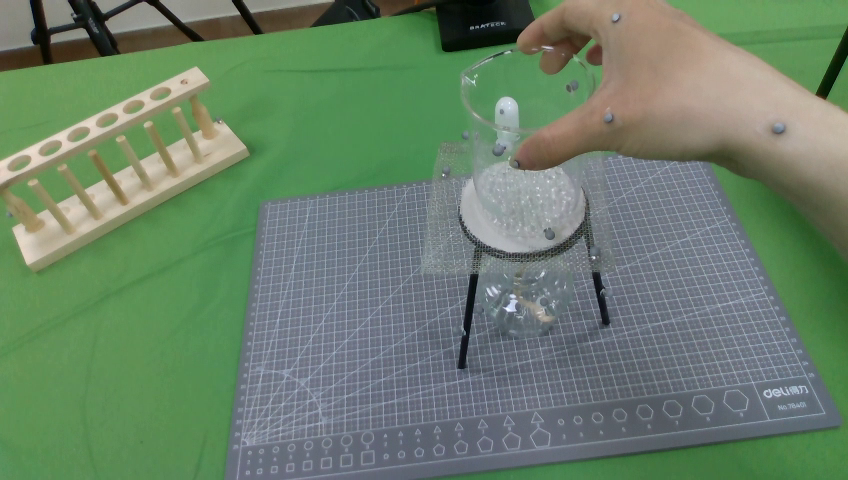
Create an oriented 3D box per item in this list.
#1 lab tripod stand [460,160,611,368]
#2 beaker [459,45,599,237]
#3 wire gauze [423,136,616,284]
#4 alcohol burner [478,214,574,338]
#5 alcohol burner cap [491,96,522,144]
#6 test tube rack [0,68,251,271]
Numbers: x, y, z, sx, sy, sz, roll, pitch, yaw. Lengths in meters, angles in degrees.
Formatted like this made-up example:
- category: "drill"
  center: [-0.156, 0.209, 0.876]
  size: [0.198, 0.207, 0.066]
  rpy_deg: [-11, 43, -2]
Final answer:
- category: "lab tripod stand"
  center: [0.075, 0.019, 0.462]
  size: [0.148, 0.133, 0.147]
  rpy_deg: [-3, 53, 5]
- category: "beaker"
  center: [0.061, -0.057, 0.376]
  size: [0.083, 0.101, 0.074]
  rpy_deg: [25, 61, 26]
- category: "wire gauze"
  center: [0.064, -0.025, 0.414]
  size: [0.121, 0.011, 0.124]
  rpy_deg: [0, 56, 10]
- category: "alcohol burner"
  center: [0.078, 0.024, 0.470]
  size: [0.078, 0.120, 0.077]
  rpy_deg: [-4, 49, 6]
- category: "alcohol burner cap"
  center: [0.088, -0.129, 0.642]
  size: [0.034, 0.048, 0.033]
  rpy_deg: [-4, 52, 6]
- category: "test tube rack"
  center: [-0.313, -0.076, 0.624]
  size: [0.242, 0.086, 0.066]
  rpy_deg: [-33, 55, -18]
